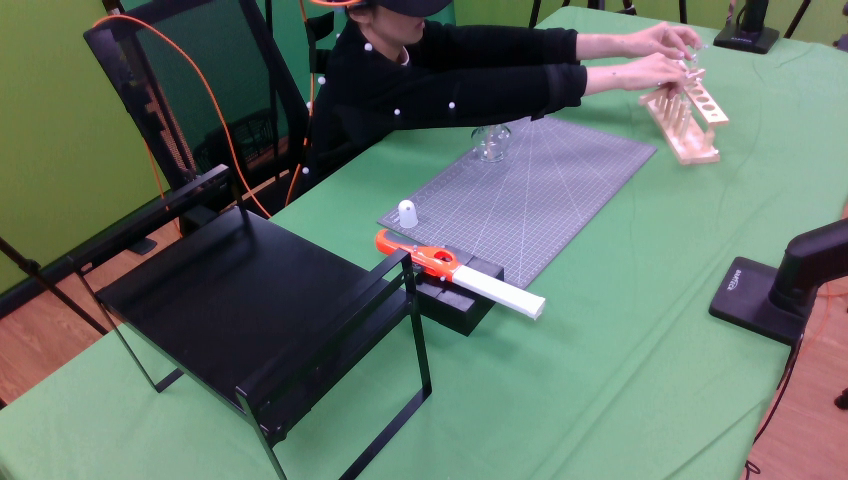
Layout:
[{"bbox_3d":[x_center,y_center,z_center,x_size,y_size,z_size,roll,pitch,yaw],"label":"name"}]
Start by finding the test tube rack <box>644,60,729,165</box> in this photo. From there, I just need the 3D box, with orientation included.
[{"bbox_3d":[0.486,-0.246,1.139,0.067,0.085,0.241,-5,41,4],"label":"test tube rack"}]

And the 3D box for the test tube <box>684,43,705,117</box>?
[{"bbox_3d":[0.495,-0.292,1.115,0.017,0.151,0.017,-5,45,5],"label":"test tube"}]

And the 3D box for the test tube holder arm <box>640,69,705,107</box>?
[{"bbox_3d":[0.442,-0.270,1.068,0.179,0.015,0.013,-28,40,-28],"label":"test tube holder arm"}]

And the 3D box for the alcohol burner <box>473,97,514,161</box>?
[{"bbox_3d":[0.128,-0.208,1.123,0.078,0.119,0.077,-5,39,4],"label":"alcohol burner"}]

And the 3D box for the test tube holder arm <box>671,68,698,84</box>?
[{"bbox_3d":[0.472,-0.292,1.095,0.010,0.015,0.088,26,46,38],"label":"test tube holder arm"}]

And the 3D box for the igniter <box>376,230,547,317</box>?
[{"bbox_3d":[0.041,0.041,0.845,0.274,0.025,0.057,22,46,27],"label":"igniter"}]

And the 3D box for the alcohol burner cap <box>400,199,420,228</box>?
[{"bbox_3d":[-0.025,-0.047,1.014,0.034,0.048,0.033,-4,42,4],"label":"alcohol burner cap"}]
